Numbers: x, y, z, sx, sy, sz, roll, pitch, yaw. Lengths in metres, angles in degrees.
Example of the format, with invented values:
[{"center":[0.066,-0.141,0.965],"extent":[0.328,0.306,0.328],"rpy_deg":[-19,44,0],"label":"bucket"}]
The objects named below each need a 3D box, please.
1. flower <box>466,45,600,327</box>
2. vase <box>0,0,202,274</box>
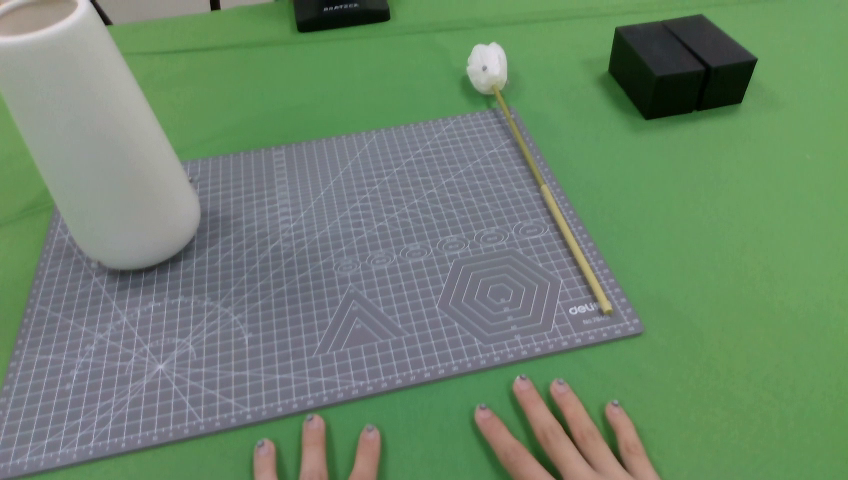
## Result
[{"center":[0.097,-0.070,0.564],"extent":[0.044,0.038,0.357],"rpy_deg":[-31,47,20],"label":"flower"},{"center":[-0.238,-0.068,0.450],"extent":[0.098,0.202,0.097],"rpy_deg":[-1,44,2],"label":"vase"}]
